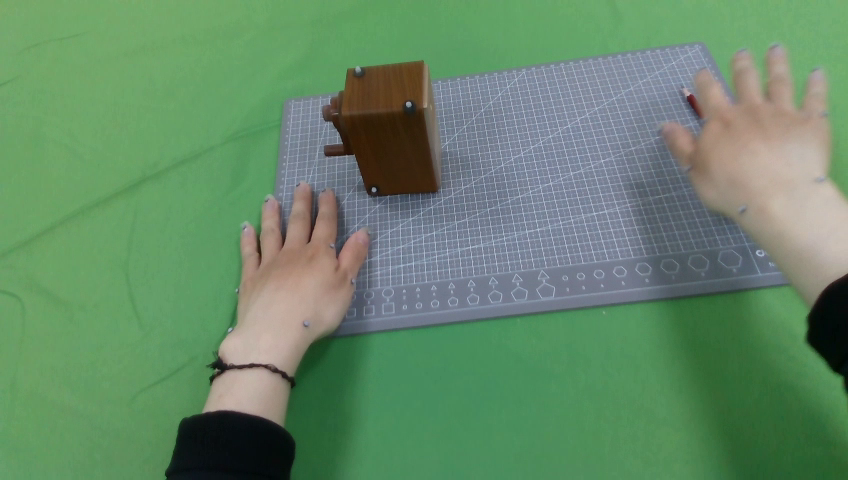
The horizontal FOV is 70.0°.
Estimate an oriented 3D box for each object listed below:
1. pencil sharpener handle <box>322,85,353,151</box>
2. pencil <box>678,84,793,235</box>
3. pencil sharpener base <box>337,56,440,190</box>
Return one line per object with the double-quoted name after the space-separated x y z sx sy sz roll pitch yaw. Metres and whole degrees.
-0.081 -0.103 0.531 0.030 0.068 0.035 -4 53 6 "pencil sharpener handle"
0.270 -0.080 0.538 0.012 0.012 0.192 -14 52 -1 "pencil"
-0.028 -0.099 0.536 0.076 0.108 0.061 -4 54 6 "pencil sharpener base"
